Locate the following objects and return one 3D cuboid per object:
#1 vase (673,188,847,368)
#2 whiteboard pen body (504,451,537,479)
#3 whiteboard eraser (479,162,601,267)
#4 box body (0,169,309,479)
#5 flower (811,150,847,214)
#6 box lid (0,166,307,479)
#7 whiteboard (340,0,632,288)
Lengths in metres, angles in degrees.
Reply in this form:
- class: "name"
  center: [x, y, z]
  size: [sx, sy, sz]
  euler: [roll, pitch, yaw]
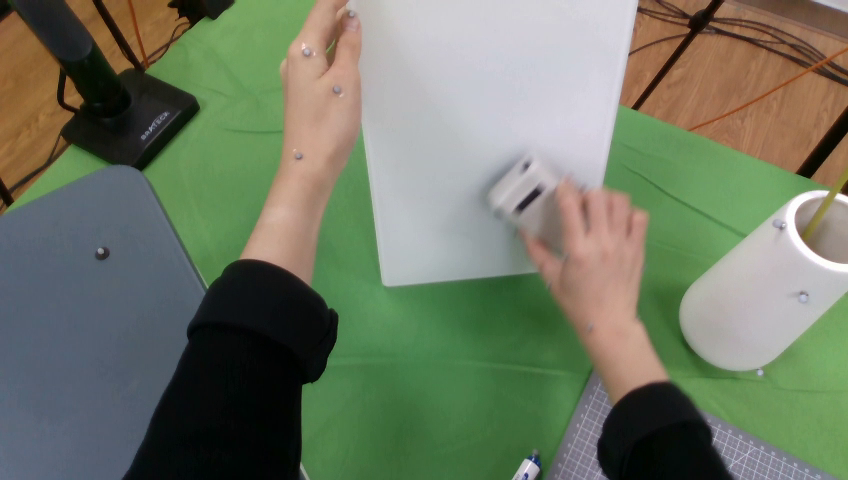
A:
- class: "vase"
  center: [0.290, 0.037, 0.520]
  size: [0.098, 0.201, 0.097]
  euler: [0, 60, 1]
- class: "whiteboard pen body"
  center: [0.054, 0.238, 0.510]
  size: [0.017, 0.017, 0.140]
  euler: [34, 62, 18]
- class: "whiteboard eraser"
  center: [0.108, -0.023, 0.559]
  size: [0.114, 0.055, 0.041]
  euler: [31, 28, -29]
- class: "box body"
  center: [-0.254, 0.160, 0.472]
  size: [0.254, 0.161, 0.361]
  euler: [-30, 66, -15]
- class: "flower"
  center: [0.290, -0.017, 0.455]
  size: [0.044, 0.365, 0.038]
  euler: [20, 46, 14]
- class: "box lid"
  center: [-0.256, 0.123, 0.407]
  size: [0.263, 0.015, 0.368]
  euler: [-30, 66, -16]
- class: "whiteboard"
  center: [0.048, -0.120, 0.580]
  size: [0.217, 0.308, 0.142]
  euler: [-5, 42, -2]
